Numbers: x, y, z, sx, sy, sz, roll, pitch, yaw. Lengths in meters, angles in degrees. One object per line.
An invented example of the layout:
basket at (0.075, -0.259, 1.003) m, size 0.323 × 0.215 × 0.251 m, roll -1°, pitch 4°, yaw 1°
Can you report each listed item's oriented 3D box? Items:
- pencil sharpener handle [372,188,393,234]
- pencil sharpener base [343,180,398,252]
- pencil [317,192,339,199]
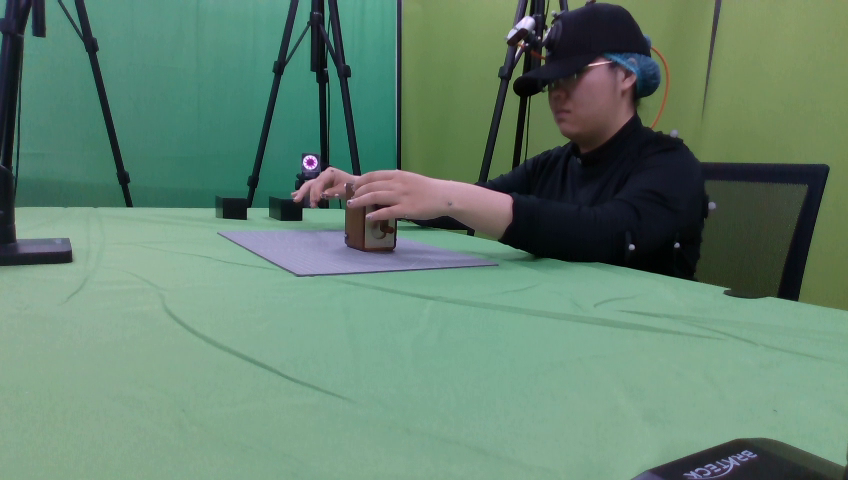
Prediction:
pencil sharpener handle at (-0.056, -0.044, 0.912) m, size 0.036 × 0.067 × 0.030 m, roll -3°, pitch 10°, yaw -33°
pencil sharpener base at (-0.085, -0.038, 0.956) m, size 0.062 × 0.107 × 0.076 m, roll -2°, pitch 9°, yaw -33°
pencil at (-0.177, -0.081, 1.111) m, size 0.012 × 0.012 × 0.193 m, roll 0°, pitch 5°, yaw -20°
